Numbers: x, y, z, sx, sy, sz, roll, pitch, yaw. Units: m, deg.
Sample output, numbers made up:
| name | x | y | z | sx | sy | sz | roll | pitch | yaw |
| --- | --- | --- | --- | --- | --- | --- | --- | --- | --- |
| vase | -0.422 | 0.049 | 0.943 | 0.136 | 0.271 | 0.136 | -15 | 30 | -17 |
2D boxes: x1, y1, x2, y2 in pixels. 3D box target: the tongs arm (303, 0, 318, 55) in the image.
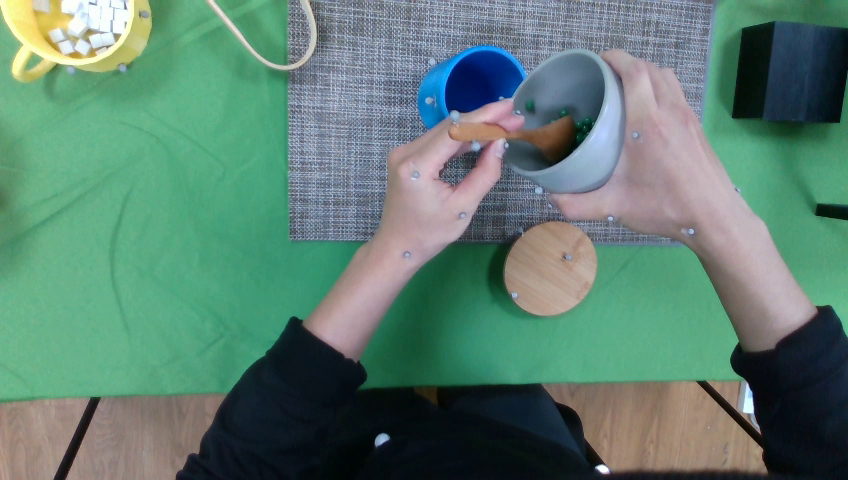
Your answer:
| name | x | y | z | sx | sy | sz | roll | pitch | yaw |
| --- | --- | --- | --- | --- | --- | --- | --- | --- | --- |
| tongs arm | -0.165 | -0.350 | 0.503 | 0.028 | 0.027 | 0.390 | -26 | 112 | -14 |

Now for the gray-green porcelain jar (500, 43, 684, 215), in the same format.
| name | x | y | z | sx | sy | sz | roll | pitch | yaw |
| --- | --- | --- | --- | --- | --- | --- | --- | --- | --- |
| gray-green porcelain jar | 0.143 | -0.083 | 0.500 | 0.127 | 0.105 | 0.106 | 22 | 96 | -36 |

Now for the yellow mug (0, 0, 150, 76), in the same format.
| name | x | y | z | sx | sy | sz | roll | pitch | yaw |
| --- | --- | --- | --- | --- | --- | --- | --- | --- | --- |
| yellow mug | -0.301 | -0.188 | 0.509 | 0.100 | 0.063 | 0.131 | 40 | 92 | -17 |

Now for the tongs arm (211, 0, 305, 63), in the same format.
| name | x | y | z | sx | sy | sz | roll | pitch | yaw |
| --- | --- | --- | --- | --- | --- | --- | --- | --- | --- |
| tongs arm | -0.235 | -0.304 | 0.494 | 0.051 | 0.026 | 0.388 | -38 | 113 | -6 |

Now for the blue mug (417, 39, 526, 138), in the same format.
| name | x | y | z | sx | sy | sz | roll | pitch | yaw |
| --- | --- | --- | --- | --- | --- | --- | --- | --- | --- |
| blue mug | 0.056 | -0.132 | 0.575 | 0.117 | 0.105 | 0.082 | 27 | 94 | -16 |

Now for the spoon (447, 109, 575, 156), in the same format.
| name | x | y | z | sx | sy | sz | roll | pitch | yaw |
| --- | --- | --- | --- | --- | --- | --- | --- | --- | --- |
| spoon | 0.072 | -0.084 | 0.462 | 0.194 | 0.021 | 0.042 | -9 | 125 | -50 |

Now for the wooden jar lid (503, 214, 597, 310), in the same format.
| name | x | y | z | sx | sy | sz | roll | pitch | yaw |
| --- | --- | --- | --- | --- | --- | --- | --- | --- | --- |
| wooden jar lid | 0.138 | 0.024 | 0.671 | 0.108 | 0.020 | 0.109 | -3 | 105 | -10 |
